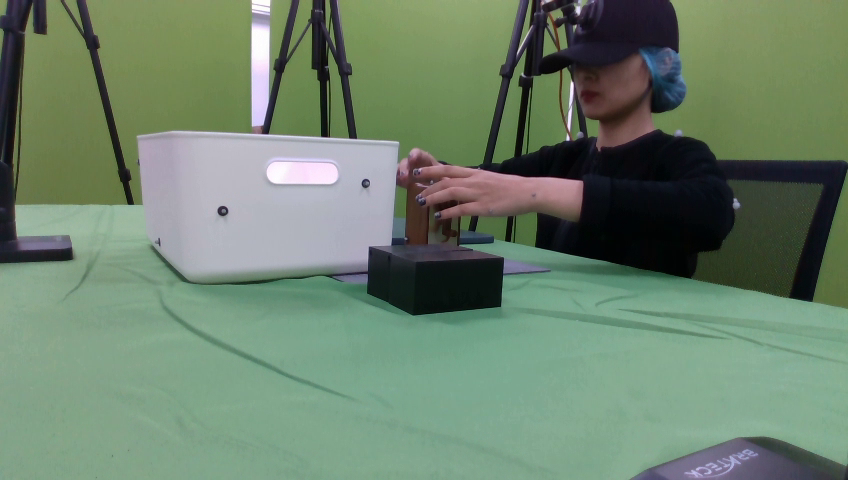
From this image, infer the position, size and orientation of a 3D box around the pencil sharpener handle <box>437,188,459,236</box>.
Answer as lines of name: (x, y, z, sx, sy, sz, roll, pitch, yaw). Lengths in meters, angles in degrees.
pencil sharpener handle: (0.041, -0.041, 0.877, 0.036, 0.067, 0.030, -1, 8, -30)

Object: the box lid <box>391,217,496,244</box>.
box lid: (-0.061, -0.021, 1.188, 0.265, 0.015, 0.369, -2, 8, -32)

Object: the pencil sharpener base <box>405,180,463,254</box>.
pencil sharpener base: (0.015, -0.035, 0.922, 0.061, 0.107, 0.076, -2, 9, -30)

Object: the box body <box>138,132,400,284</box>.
box body: (-0.223, -0.056, 0.807, 0.255, 0.160, 0.362, -3, 9, -31)
